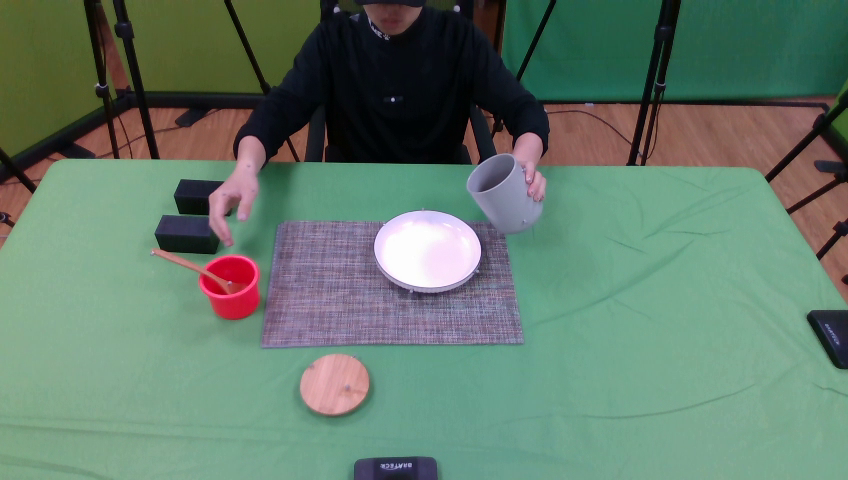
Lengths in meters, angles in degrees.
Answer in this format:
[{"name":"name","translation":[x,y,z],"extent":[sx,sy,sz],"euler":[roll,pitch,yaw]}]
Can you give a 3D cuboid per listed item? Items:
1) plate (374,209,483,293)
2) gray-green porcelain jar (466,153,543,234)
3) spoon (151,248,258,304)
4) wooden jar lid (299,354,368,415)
[{"name":"plate","translation":[0.008,0.024,1.158],"extent":[0.208,0.039,0.206],"euler":[2,46,-2]},{"name":"gray-green porcelain jar","translation":[0.155,-0.082,1.130],"extent":[0.106,0.127,0.105],"euler":[-27,34,21]},{"name":"spoon","translation":[-0.369,0.059,1.028],"extent":[0.195,0.021,0.041],"euler":[36,35,-32]},{"name":"wooden jar lid","translation":[-0.143,0.232,0.964],"extent":[0.108,0.021,0.107],"euler":[2,45,-2]}]
